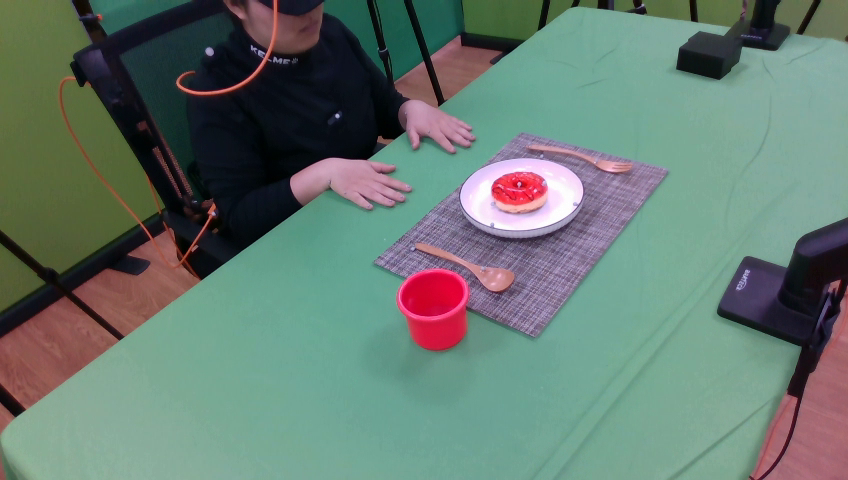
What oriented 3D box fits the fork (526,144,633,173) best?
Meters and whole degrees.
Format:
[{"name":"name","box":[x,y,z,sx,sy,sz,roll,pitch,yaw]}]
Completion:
[{"name":"fork","box":[0.279,-0.153,1.108,0.206,0.019,0.028,21,56,29]}]

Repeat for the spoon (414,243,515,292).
[{"name":"spoon","box":[0.057,0.035,0.924,0.192,0.022,0.041,24,68,34]}]

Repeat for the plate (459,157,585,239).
[{"name":"plate","box":[0.163,-0.068,1.015,0.209,0.038,0.208,-5,40,5]}]

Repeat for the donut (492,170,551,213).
[{"name":"donut","box":[0.163,-0.083,1.016,0.099,0.048,0.098,-6,37,5]}]
